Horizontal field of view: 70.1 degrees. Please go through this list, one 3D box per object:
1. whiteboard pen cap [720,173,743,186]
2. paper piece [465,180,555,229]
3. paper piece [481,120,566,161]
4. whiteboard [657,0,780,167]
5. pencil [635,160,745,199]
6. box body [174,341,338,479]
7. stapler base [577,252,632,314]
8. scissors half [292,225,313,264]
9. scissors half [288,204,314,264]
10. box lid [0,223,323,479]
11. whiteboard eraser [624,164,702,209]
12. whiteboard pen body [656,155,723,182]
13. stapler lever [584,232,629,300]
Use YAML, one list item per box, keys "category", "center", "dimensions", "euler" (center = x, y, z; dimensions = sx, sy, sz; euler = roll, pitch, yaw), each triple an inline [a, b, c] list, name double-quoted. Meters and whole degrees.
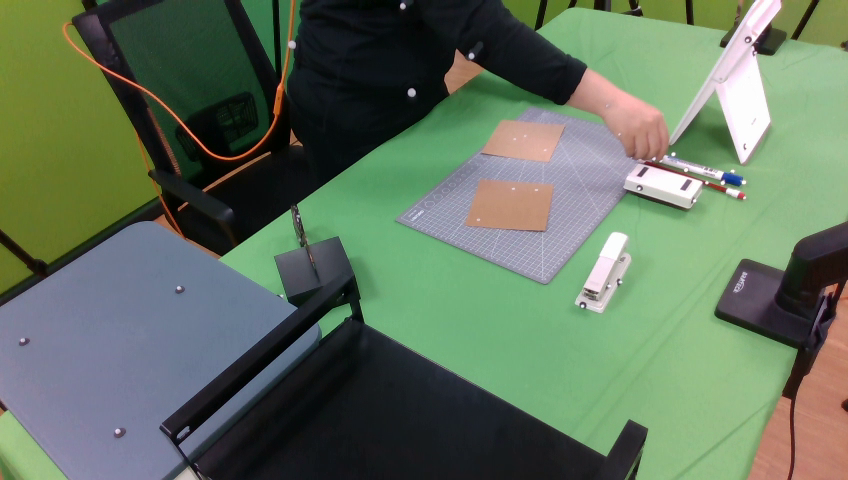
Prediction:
- category: "whiteboard pen cap"
  center: [0.519, -0.103, 1.020]
  dimensions: [0.033, 0.018, 0.018]
  euler: [23, 49, 29]
- category: "paper piece"
  center: [0.149, -0.062, 1.034]
  dimensions: [0.137, 0.009, 0.136]
  euler: [5, 37, 17]
- category: "paper piece"
  center: [0.197, -0.199, 1.188]
  dimensions: [0.135, 0.004, 0.135]
  euler: [11, 43, 21]
- category: "whiteboard"
  center: [0.571, -0.272, 1.038]
  dimensions: [0.143, 0.306, 0.218]
  euler: [36, 54, 17]
- category: "pencil"
  center: [0.453, -0.107, 1.040]
  dimensions: [0.192, 0.012, 0.012]
  euler: [28, 51, 34]
- category: "box body"
  center: [-0.311, 0.165, 0.720]
  dimensions: [0.361, 0.161, 0.255]
  euler: [23, 49, 32]
- category: "stapler base"
  center: [0.264, 0.051, 0.875]
  dimensions: [0.041, 0.024, 0.131]
  euler: [16, 47, 30]
- category: "scissors half"
  center: [-0.189, 0.007, 0.955]
  dimensions: [0.013, 0.040, 0.174]
  euler: [-20, 22, -12]
- category: "scissors half"
  center: [-0.191, -0.010, 0.945]
  dimensions: [0.013, 0.040, 0.173]
  euler: [-16, 38, -15]
- category: "box lid"
  center: [-0.318, 0.109, 0.671]
  dimensions: [0.368, 0.015, 0.264]
  euler: [24, 49, 31]
- category: "whiteboard eraser"
  center: [0.396, -0.087, 1.003]
  dimensions: [0.112, 0.042, 0.056]
  euler: [23, 48, 31]
- category: "whiteboard pen body"
  center: [0.475, -0.123, 1.053]
  dimensions: [0.139, 0.017, 0.017]
  euler: [25, 50, 31]
- category: "stapler lever"
  center: [0.261, 0.034, 0.858]
  dimensions: [0.026, 0.040, 0.118]
  euler: [16, 46, 30]
